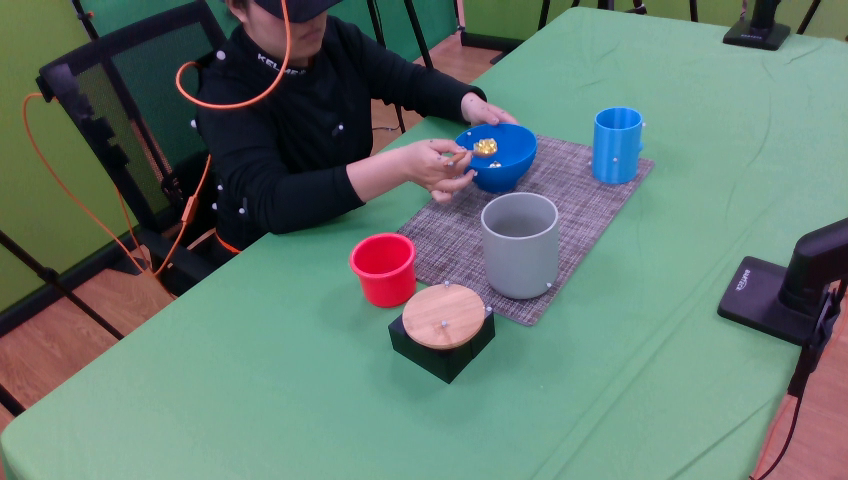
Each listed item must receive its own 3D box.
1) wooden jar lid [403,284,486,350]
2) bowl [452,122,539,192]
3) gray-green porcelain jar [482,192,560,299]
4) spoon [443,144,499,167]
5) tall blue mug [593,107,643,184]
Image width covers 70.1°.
[{"bbox_3d":[0.027,0.101,0.786,0.108,0.021,0.108,-5,39,5],"label":"wooden jar lid"},{"bbox_3d":[0.129,-0.139,1.077,0.151,0.077,0.150,-6,40,5],"label":"bowl"},{"bbox_3d":[0.139,0.012,0.858,0.106,0.127,0.105,-6,40,5],"label":"gray-green porcelain jar"},{"bbox_3d":[0.074,-0.138,0.979,0.041,0.021,0.195,8,15,26],"label":"spoon"},{"bbox_3d":[0.330,-0.172,1.052,0.078,0.108,0.106,-12,40,0],"label":"tall blue mug"}]
